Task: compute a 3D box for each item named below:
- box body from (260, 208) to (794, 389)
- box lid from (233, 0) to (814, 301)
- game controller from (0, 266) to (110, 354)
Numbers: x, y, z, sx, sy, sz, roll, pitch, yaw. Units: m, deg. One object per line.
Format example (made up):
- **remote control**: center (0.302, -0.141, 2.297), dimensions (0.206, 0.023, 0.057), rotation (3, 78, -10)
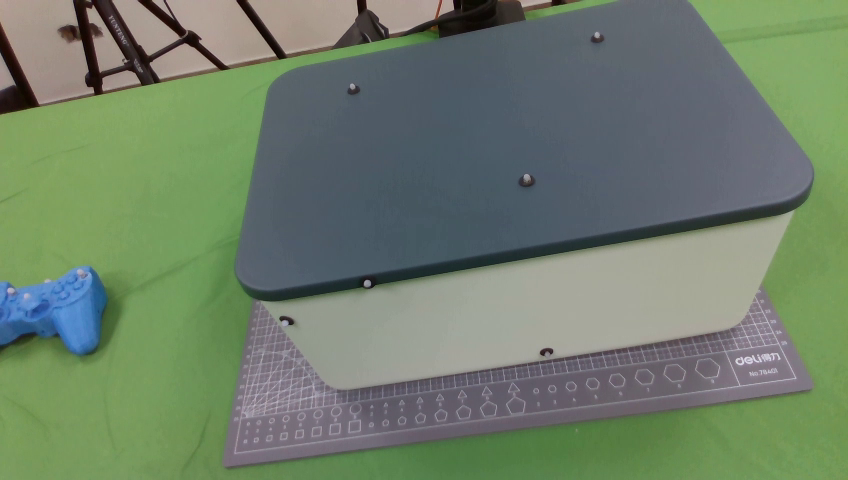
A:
- **box body**: center (0.063, -0.036, 0.506), dimensions (0.364, 0.162, 0.251), rotation (-10, 47, 5)
- **box lid**: center (0.047, -0.085, 0.452), dimensions (0.371, 0.015, 0.260), rotation (-10, 47, 5)
- **game controller**: center (-0.393, 0.074, 0.603), dimensions (0.155, 0.052, 0.096), rotation (-9, 44, 5)
